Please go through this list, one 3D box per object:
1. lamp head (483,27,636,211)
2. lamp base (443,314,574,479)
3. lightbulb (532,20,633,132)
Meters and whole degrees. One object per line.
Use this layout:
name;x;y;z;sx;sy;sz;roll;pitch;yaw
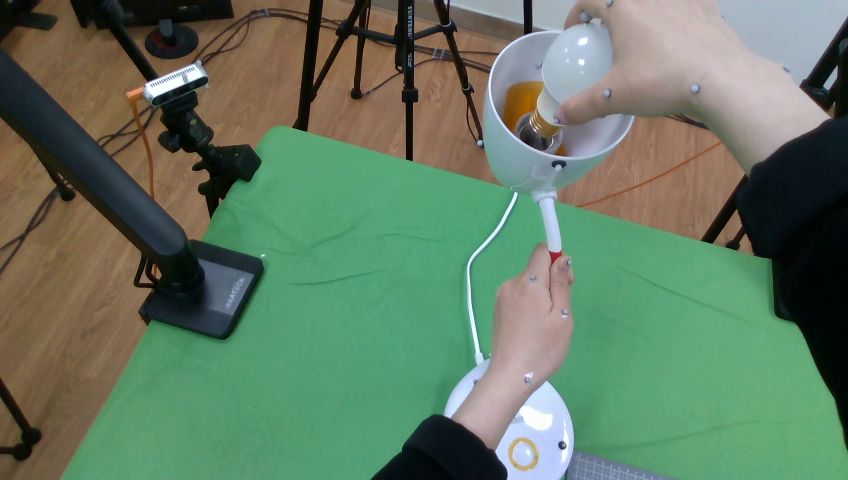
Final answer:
lamp head;0.098;-0.087;0.494;0.112;0.123;0.111;2;64;-4
lamp base;0.103;0.171;0.675;0.161;0.181;0.177;-21;60;-18
lightbulb;0.108;-0.112;0.441;0.060;0.108;0.059;5;68;-12
